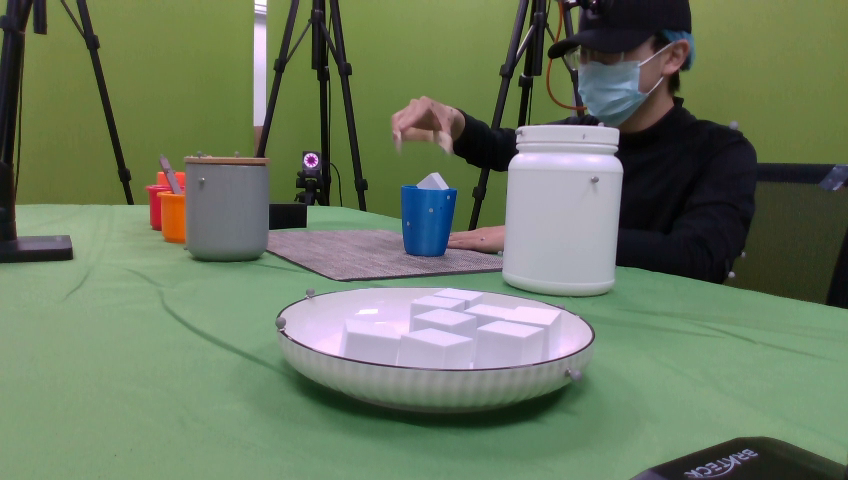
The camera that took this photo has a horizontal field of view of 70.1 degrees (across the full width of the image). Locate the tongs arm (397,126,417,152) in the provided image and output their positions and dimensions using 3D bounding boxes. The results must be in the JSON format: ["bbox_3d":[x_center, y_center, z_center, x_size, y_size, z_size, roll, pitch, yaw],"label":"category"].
[{"bbox_3d":[-0.031,-0.182,1.059,0.028,0.028,0.387,-1,13,1],"label":"tongs arm"}]

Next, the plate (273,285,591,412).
[{"bbox_3d":[0.005,0.069,0.408,0.208,0.039,0.207,2,7,0],"label":"plate"}]

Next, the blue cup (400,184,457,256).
[{"bbox_3d":[0.003,-0.030,0.901,0.093,0.100,0.092,4,9,0],"label":"blue cup"}]

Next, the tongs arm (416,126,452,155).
[{"bbox_3d":[0.012,-0.179,1.062,0.051,0.026,0.384,2,13,-1],"label":"tongs arm"}]

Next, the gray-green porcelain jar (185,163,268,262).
[{"bbox_3d":[-0.263,-0.038,0.808,0.106,0.126,0.106,3,8,0],"label":"gray-green porcelain jar"}]

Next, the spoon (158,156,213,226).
[{"bbox_3d":[-0.434,-0.094,1.121,0.041,0.022,0.193,5,51,13],"label":"spoon"}]

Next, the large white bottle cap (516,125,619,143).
[{"bbox_3d":[0.164,-0.120,0.695,0.115,0.018,0.115,2,8,0],"label":"large white bottle cap"}]

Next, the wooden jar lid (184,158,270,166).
[{"bbox_3d":[-0.260,-0.099,0.801,0.108,0.020,0.108,0,9,0],"label":"wooden jar lid"}]

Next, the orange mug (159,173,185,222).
[{"bbox_3d":[-0.477,-0.089,1.241,0.127,0.101,0.083,-7,12,-33],"label":"orange mug"}]

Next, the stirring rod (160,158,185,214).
[{"bbox_3d":[-0.390,-0.070,0.972,0.014,0.006,0.175,-3,51,-48],"label":"stirring rod"}]

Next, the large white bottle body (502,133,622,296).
[{"bbox_3d":[0.161,-0.037,0.706,0.131,0.184,0.130,2,7,0],"label":"large white bottle body"}]
